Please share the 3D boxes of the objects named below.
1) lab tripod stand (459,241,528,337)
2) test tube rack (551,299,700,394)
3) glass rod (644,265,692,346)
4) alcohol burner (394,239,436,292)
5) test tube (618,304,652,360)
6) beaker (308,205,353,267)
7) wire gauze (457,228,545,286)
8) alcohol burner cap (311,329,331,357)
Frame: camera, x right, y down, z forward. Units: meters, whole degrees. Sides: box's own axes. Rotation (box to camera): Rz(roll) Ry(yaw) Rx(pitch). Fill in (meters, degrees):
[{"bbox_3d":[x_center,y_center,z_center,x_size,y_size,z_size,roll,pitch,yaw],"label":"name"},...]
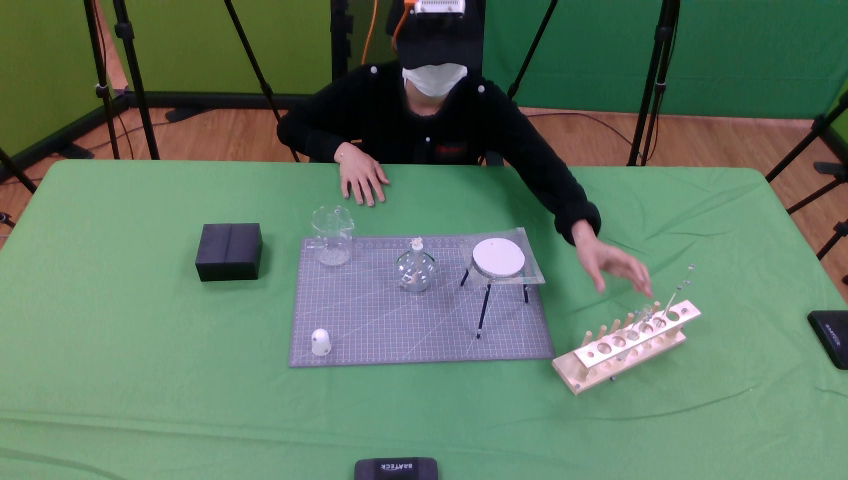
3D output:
[{"bbox_3d":[0.122,0.075,1.054,0.148,0.132,0.147,3,44,-3],"label":"lab tripod stand"},{"bbox_3d":[0.339,0.166,1.021,0.242,0.085,0.066,-19,50,-21],"label":"test tube rack"},{"bbox_3d":[0.395,0.112,0.985,0.008,0.200,0.008,4,43,-3],"label":"glass rod"},{"bbox_3d":[-0.016,0.038,1.093,0.078,0.119,0.077,2,48,-2],"label":"alcohol burner"},{"bbox_3d":[0.335,0.150,0.967,0.017,0.151,0.017,0,50,0],"label":"test tube"},{"bbox_3d":[-0.171,-0.004,1.132,0.084,0.101,0.073,16,47,10],"label":"beaker"},{"bbox_3d":[0.126,0.029,1.006,0.125,0.011,0.120,-4,46,-10],"label":"wire gauze"},{"bbox_3d":[-0.173,0.168,1.004,0.034,0.048,0.033,2,46,-2],"label":"alcohol burner cap"}]
